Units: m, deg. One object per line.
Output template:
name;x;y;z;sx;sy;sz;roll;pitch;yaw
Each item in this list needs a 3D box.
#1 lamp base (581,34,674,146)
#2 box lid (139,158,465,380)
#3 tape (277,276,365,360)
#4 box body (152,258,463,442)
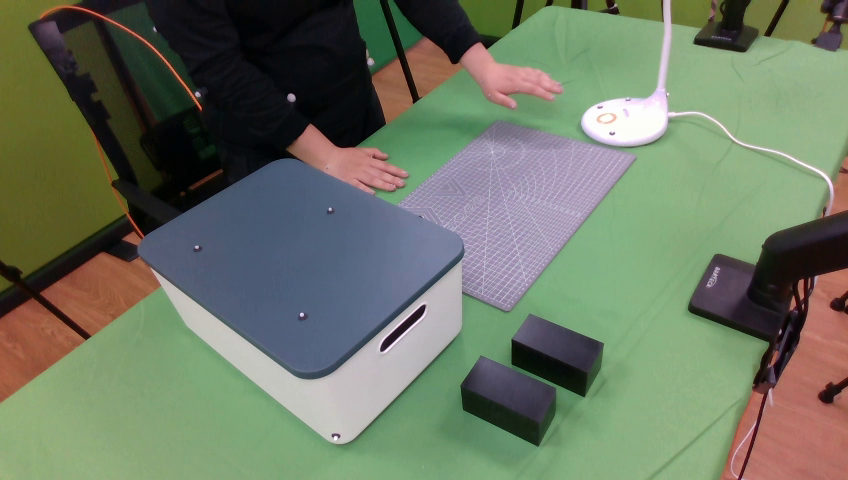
lamp base;0.392;-0.291;1.129;0.180;0.181;0.159;-11;41;-8
box lid;-0.158;0.010;0.758;0.368;0.015;0.264;26;50;33
tape;-0.140;0.106;0.832;0.117;0.053;0.116;-4;41;4
box body;-0.152;0.064;0.807;0.361;0.161;0.255;26;51;33
